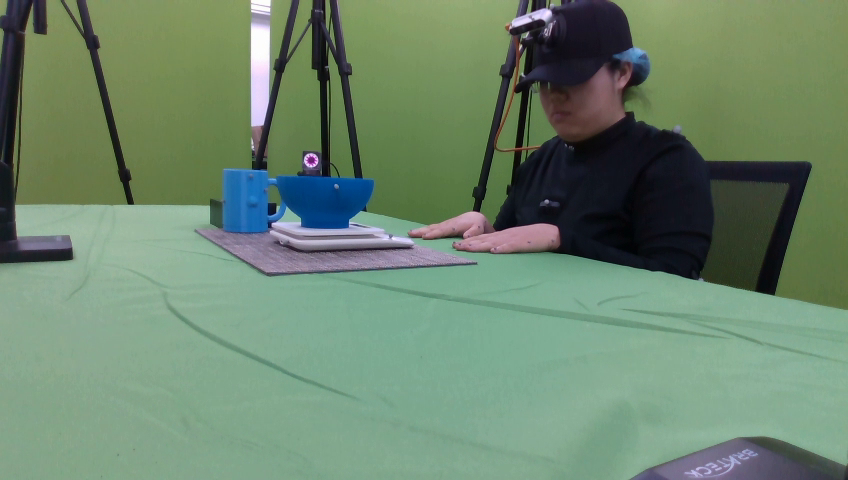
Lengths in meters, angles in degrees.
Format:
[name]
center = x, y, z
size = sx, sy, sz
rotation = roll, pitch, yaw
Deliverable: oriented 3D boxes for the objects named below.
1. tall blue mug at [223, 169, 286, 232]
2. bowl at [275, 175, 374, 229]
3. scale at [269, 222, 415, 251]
[tall blue mug]
center = -0.310, -0.072, 1.091
size = 0.077, 0.108, 0.107
rotation = 6, 8, 27
[bowl]
center = -0.152, -0.059, 0.932
size = 0.151, 0.077, 0.151
rotation = 2, 6, 0
[scale]
center = -0.130, -0.008, 0.959
size = 0.202, 0.031, 0.148
rotation = -1, 9, -32
